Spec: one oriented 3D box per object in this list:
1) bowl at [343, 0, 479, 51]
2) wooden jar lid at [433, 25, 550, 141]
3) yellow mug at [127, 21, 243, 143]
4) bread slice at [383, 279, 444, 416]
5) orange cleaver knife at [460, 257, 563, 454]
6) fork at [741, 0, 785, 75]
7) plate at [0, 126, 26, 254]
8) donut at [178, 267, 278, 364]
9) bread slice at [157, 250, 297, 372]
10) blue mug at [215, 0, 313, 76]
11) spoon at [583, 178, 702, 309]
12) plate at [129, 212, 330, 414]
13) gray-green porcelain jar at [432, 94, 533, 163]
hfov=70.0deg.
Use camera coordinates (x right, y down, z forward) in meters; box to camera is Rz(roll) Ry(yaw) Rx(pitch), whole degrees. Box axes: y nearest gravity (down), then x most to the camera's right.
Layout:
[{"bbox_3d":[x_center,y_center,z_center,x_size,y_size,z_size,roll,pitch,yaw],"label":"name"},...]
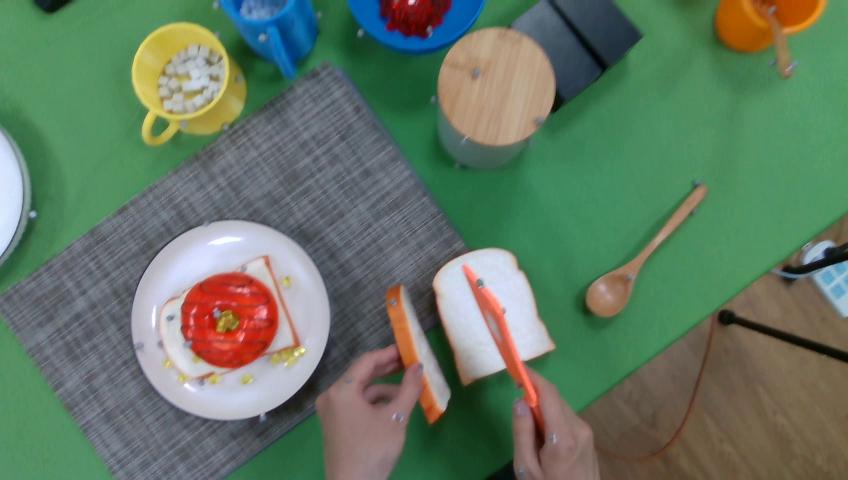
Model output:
[{"bbox_3d":[-0.014,-0.268,0.653,0.151,0.077,0.151,0,87,-1],"label":"bowl"},{"bbox_3d":[0.061,-0.144,0.561,0.108,0.020,0.108,0,88,-5],"label":"wooden jar lid"},{"bbox_3d":[-0.261,-0.159,0.647,0.100,0.064,0.131,32,88,2],"label":"yellow mug"},{"bbox_3d":[-0.010,0.105,0.622,0.018,0.107,0.134,-21,85,1],"label":"bread slice"},{"bbox_3d":[0.080,0.108,0.557,0.012,0.076,0.213,-29,115,-9],"label":"orange cleaver knife"},{"bbox_3d":[0.349,-0.223,0.624,0.028,0.019,0.206,27,43,-6],"label":"fork"},{"bbox_3d":[-0.527,-0.051,0.648,0.208,0.039,0.207,0,87,-1],"label":"plate"},{"bbox_3d":[-0.199,0.076,0.618,0.099,0.048,0.099,0,87,-5],"label":"donut"},{"bbox_3d":[-0.214,0.083,0.648,0.131,0.019,0.104,-23,87,-6],"label":"bread slice"},{"bbox_3d":[-0.162,-0.230,0.634,0.082,0.106,0.116,-16,87,-2],"label":"blue mug"},{"bbox_3d":[0.247,0.002,0.672,0.041,0.022,0.193,42,87,19],"label":"spoon"},{"bbox_3d":[-0.202,0.076,0.645,0.209,0.038,0.208,0,87,-1],"label":"plate"},{"bbox_3d":[0.061,-0.139,0.624,0.106,0.126,0.105,0,86,-1],"label":"gray-green porcelain jar"}]
